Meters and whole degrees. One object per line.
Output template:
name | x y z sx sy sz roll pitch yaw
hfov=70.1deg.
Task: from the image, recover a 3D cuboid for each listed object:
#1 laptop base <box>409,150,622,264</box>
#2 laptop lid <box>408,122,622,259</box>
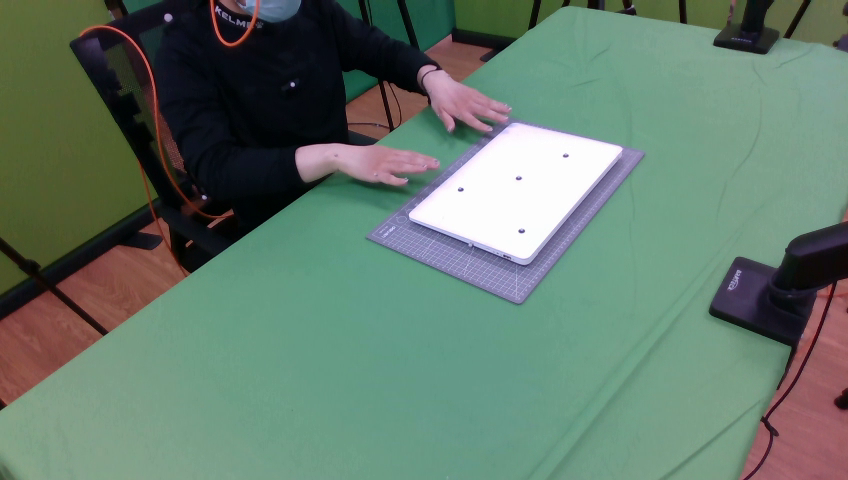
laptop base | 0.168 -0.095 1.057 0.233 0.023 0.355 19 47 33
laptop lid | 0.165 -0.105 1.051 0.240 0.013 0.358 22 48 33
